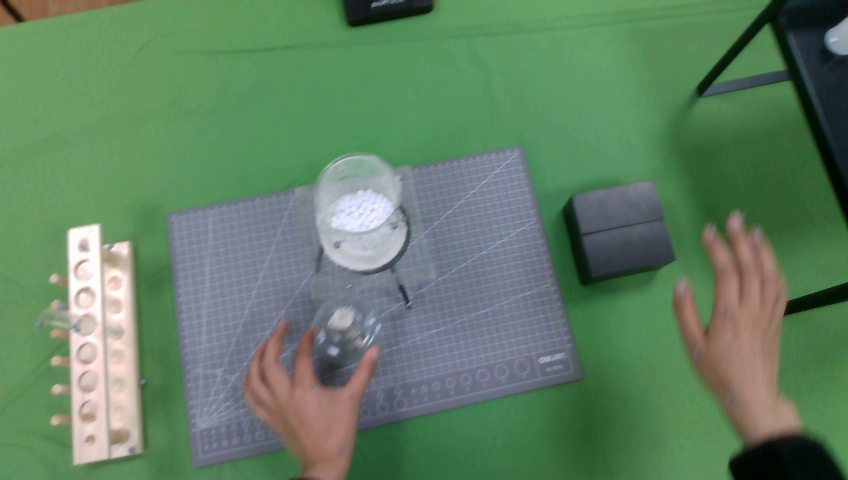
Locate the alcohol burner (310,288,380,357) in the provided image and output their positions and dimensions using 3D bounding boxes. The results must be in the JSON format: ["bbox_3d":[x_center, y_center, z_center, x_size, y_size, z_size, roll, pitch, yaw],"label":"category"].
[{"bbox_3d":[-0.087,0.088,0.658,0.078,0.119,0.077,1,75,-3],"label":"alcohol burner"}]

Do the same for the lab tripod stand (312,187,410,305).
[{"bbox_3d":[-0.062,0.001,0.671,0.148,0.132,0.147,0,74,0],"label":"lab tripod stand"}]

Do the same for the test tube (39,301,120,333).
[{"bbox_3d":[-0.346,0.081,0.618,0.017,0.151,0.017,1,76,-4],"label":"test tube"}]

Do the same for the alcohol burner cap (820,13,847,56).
[{"bbox_3d":[0.426,-0.211,0.605,0.034,0.048,0.033,1,74,-3],"label":"alcohol burner cap"}]

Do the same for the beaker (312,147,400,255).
[{"bbox_3d":[-0.062,-0.028,0.561,0.074,0.100,0.084,43,78,9],"label":"beaker"}]

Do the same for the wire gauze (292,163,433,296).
[{"bbox_3d":[-0.063,-0.011,0.606,0.125,0.011,0.121,-10,77,-7],"label":"wire gauze"}]

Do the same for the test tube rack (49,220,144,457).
[{"bbox_3d":[-0.364,0.108,0.662,0.067,0.085,0.241,-9,76,-4],"label":"test tube rack"}]
